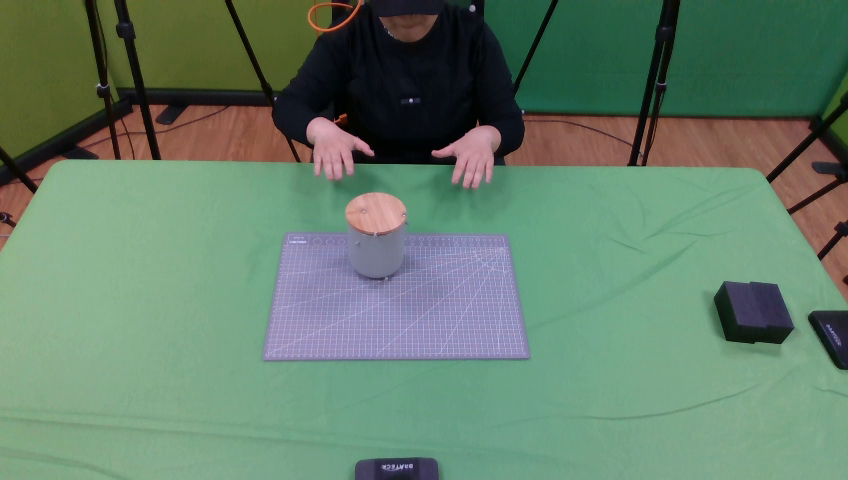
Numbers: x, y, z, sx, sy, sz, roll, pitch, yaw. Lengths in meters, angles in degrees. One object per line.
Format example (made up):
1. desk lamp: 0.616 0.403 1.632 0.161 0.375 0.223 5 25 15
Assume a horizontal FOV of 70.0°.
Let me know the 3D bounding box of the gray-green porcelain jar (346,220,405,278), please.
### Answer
1. gray-green porcelain jar: -0.089 0.000 1.116 0.106 0.127 0.105 2 46 -2

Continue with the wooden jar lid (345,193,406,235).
1. wooden jar lid: -0.086 -0.043 1.071 0.108 0.021 0.107 3 44 -3
